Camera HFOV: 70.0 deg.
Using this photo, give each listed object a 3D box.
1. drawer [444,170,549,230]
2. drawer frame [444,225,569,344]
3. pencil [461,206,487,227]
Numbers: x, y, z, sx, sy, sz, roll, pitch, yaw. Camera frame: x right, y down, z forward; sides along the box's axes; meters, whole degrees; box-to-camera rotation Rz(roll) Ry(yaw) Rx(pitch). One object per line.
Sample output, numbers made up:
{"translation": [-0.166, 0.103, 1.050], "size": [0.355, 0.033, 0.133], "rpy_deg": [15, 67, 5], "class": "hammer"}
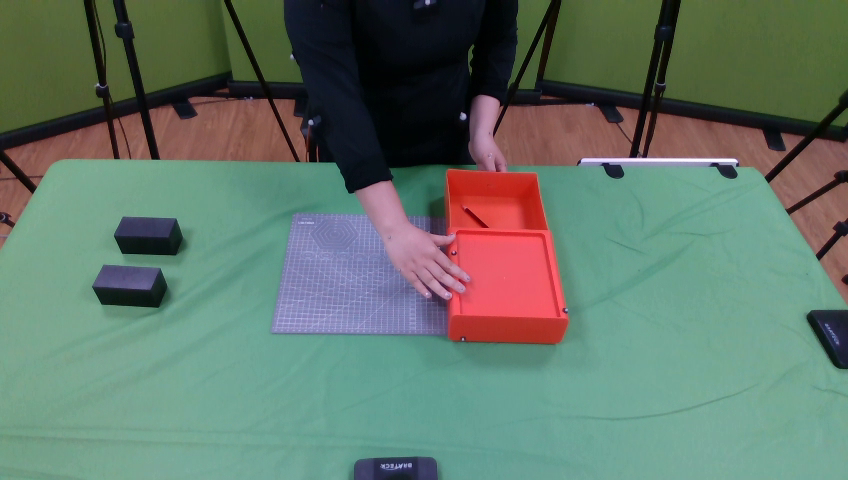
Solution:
{"translation": [0.141, -0.048, 1.217], "size": [0.195, 0.073, 0.210], "rpy_deg": [3, 44, -4], "class": "drawer"}
{"translation": [0.140, 0.076, 1.088], "size": [0.202, 0.083, 0.212], "rpy_deg": [2, 47, -3], "class": "drawer frame"}
{"translation": [0.134, -0.017, 1.221], "size": [0.012, 0.012, 0.193], "rpy_deg": [-25, 50, -26], "class": "pencil"}
